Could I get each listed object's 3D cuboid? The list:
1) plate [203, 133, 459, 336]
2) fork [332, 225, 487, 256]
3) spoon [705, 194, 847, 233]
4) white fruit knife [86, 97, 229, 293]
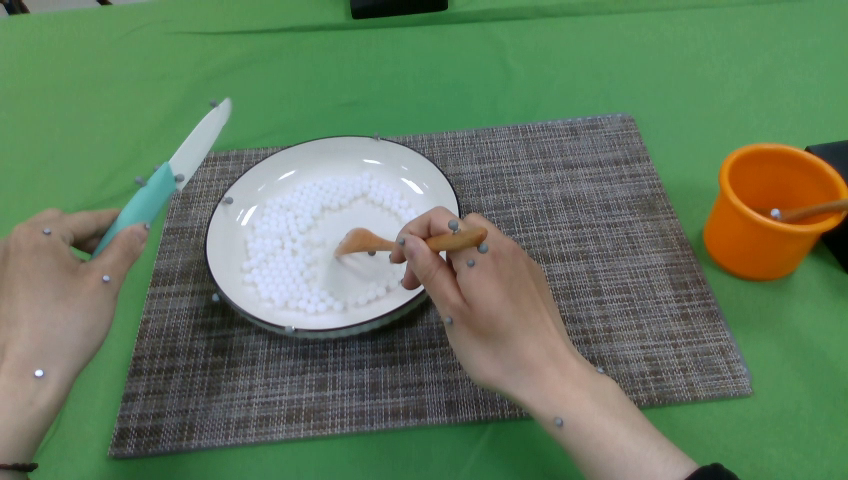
[{"bbox_3d":[-0.073,-0.007,0.506,0.209,0.038,0.207,-1,51,2],"label":"plate"},{"bbox_3d":[-0.020,0.001,0.418,0.206,0.019,0.028,0,49,57],"label":"fork"},{"bbox_3d":[0.292,-0.023,0.433,0.041,0.193,0.022,-33,101,-25],"label":"spoon"},{"bbox_3d":[-0.201,-0.049,0.473,0.016,0.028,0.206,-8,45,28],"label":"white fruit knife"}]
